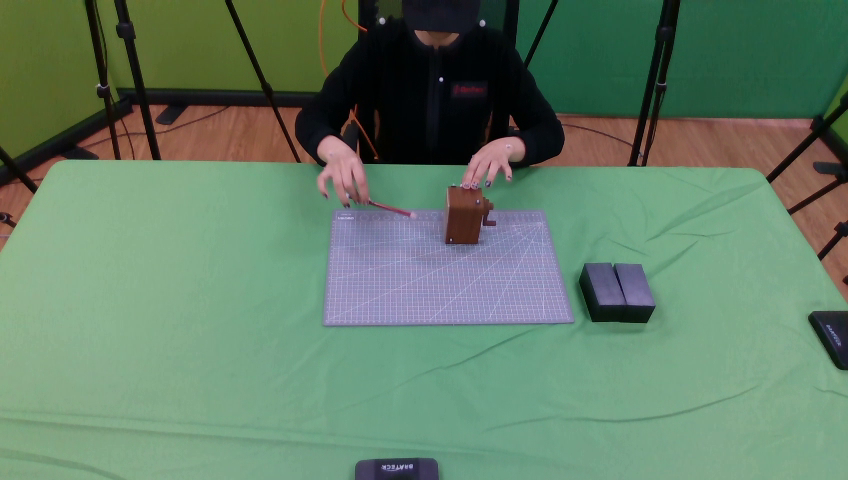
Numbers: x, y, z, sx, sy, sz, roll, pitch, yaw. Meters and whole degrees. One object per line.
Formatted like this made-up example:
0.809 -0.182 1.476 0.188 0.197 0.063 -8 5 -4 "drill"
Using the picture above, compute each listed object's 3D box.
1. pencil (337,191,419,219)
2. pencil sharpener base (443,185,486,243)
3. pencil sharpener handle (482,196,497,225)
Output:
-0.090 -0.067 1.161 0.193 0.012 0.012 19 47 28 "pencil"
0.078 -0.049 1.188 0.077 0.107 0.061 2 46 -3 "pencil sharpener base"
0.130 -0.056 1.182 0.031 0.068 0.036 2 43 -3 "pencil sharpener handle"
